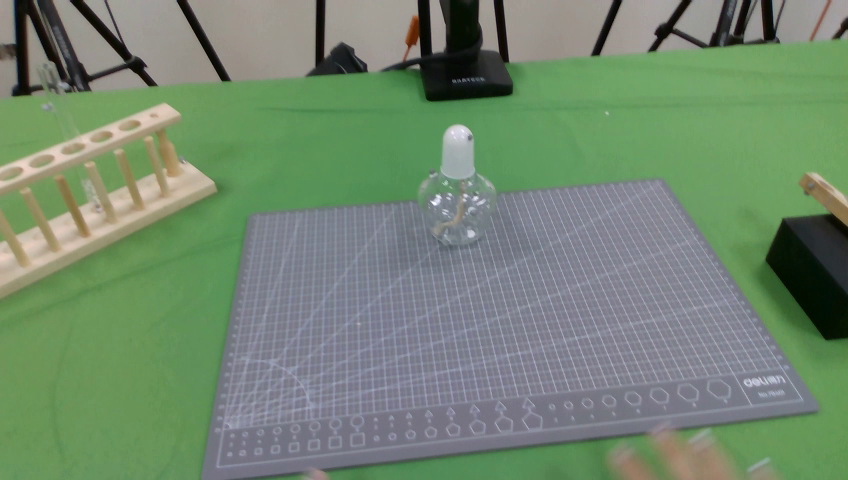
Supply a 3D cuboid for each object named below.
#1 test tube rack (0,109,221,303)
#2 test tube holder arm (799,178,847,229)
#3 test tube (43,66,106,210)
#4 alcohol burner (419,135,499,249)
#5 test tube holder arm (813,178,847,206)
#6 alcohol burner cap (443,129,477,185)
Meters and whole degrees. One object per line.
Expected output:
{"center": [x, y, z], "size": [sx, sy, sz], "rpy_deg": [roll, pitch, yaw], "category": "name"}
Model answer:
{"center": [-0.336, -0.039, 0.601], "size": [0.242, 0.086, 0.066], "rpy_deg": [-33, 50, -31], "category": "test tube rack"}
{"center": [0.368, -0.025, 0.536], "size": [0.010, 0.015, 0.087], "rpy_deg": [-8, 42, -13], "category": "test tube holder arm"}
{"center": [-0.336, -0.094, 0.588], "size": [0.017, 0.151, 0.017], "rpy_deg": [1, 36, 0], "category": "test tube"}
{"center": [0.034, -0.050, 0.575], "size": [0.078, 0.120, 0.077], "rpy_deg": [0, 42, 0], "category": "alcohol burner"}
{"center": [0.385, 0.003, 0.505], "size": [0.013, 0.015, 0.176], "rpy_deg": [-9, 42, -14], "category": "test tube holder arm"}
{"center": [0.034, -0.078, 0.552], "size": [0.034, 0.048, 0.033], "rpy_deg": [1, 39, 0], "category": "alcohol burner cap"}
